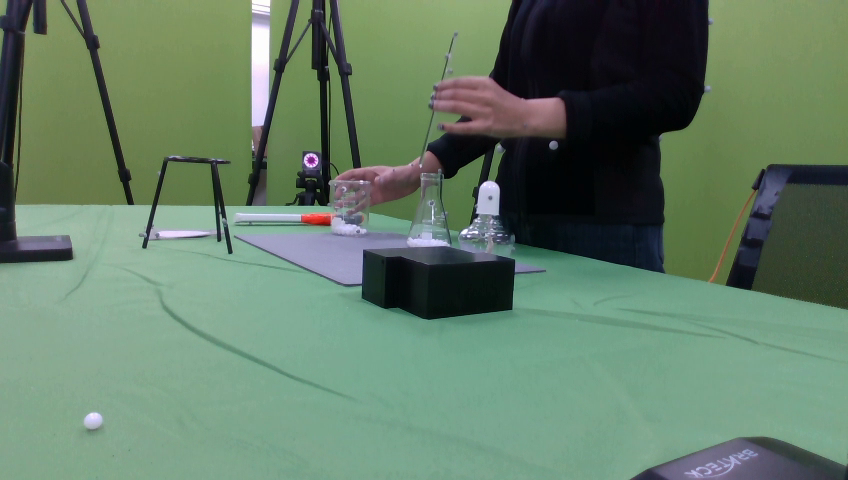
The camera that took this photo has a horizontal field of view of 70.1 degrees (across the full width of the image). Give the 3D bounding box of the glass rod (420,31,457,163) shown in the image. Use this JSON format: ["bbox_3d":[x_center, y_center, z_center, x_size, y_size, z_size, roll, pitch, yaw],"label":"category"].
[{"bbox_3d":[0.021,-0.211,0.907,0.008,0.199,0.008,14,16,-4],"label":"glass rod"}]

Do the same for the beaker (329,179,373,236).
[{"bbox_3d":[-0.137,-0.060,1.101,0.084,0.100,0.074,4,7,21],"label":"beaker"}]

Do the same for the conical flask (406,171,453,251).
[{"bbox_3d":[0.011,-0.046,0.948,0.075,0.122,0.075,2,7,0],"label":"conical flask"}]

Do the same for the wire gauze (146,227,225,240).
[{"bbox_3d":[-0.400,-0.012,1.019,0.122,0.011,0.124,-1,6,-26],"label":"wire gauze"}]

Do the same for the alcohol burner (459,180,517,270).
[{"bbox_3d":[0.086,-0.021,0.805,0.078,0.119,0.078,3,9,0],"label":"alcohol burner"}]

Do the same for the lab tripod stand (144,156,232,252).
[{"bbox_3d":[-0.325,-0.054,0.881,0.148,0.131,0.148,4,7,0],"label":"lab tripod stand"}]

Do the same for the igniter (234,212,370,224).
[{"bbox_3d":[-0.247,-0.046,1.253,0.278,0.025,0.057,-1,-2,-27],"label":"igniter"}]

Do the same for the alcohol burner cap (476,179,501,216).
[{"bbox_3d":[0.086,-0.057,0.801,0.034,0.048,0.034,4,2,0],"label":"alcohol burner cap"}]
